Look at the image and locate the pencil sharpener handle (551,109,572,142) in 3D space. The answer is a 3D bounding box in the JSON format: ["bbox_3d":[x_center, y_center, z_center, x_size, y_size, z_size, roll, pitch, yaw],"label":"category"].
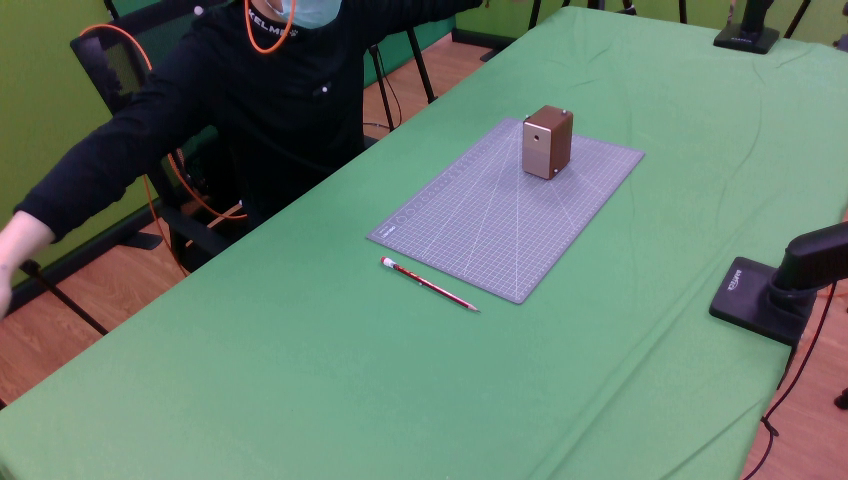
[{"bbox_3d":[0.253,-0.212,1.090,0.035,0.068,0.031,22,48,36],"label":"pencil sharpener handle"}]

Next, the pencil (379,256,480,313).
[{"bbox_3d":[0.005,0.066,0.901,0.192,0.012,0.012,26,50,31],"label":"pencil"}]

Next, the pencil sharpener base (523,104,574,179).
[{"bbox_3d":[0.220,-0.175,1.071,0.061,0.107,0.077,26,50,33],"label":"pencil sharpener base"}]
